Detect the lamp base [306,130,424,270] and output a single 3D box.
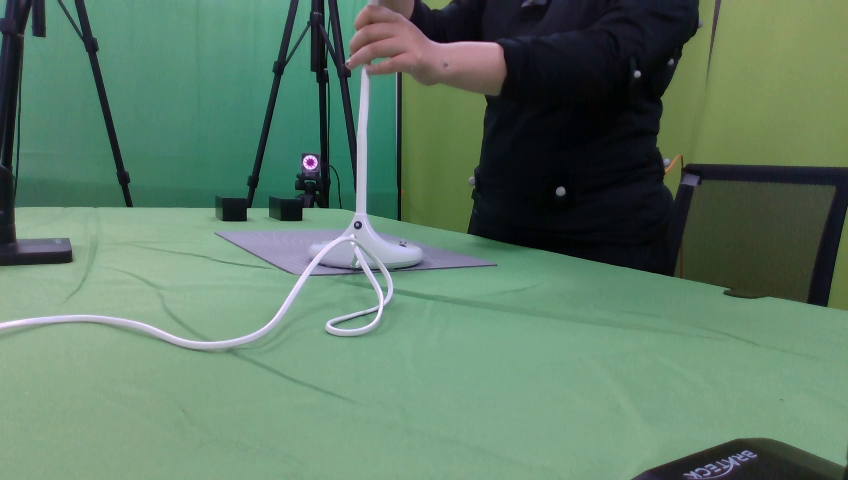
[{"bbox_3d":[-0.077,-0.057,0.811,0.161,0.180,0.179,2,10,-4],"label":"lamp base"}]
